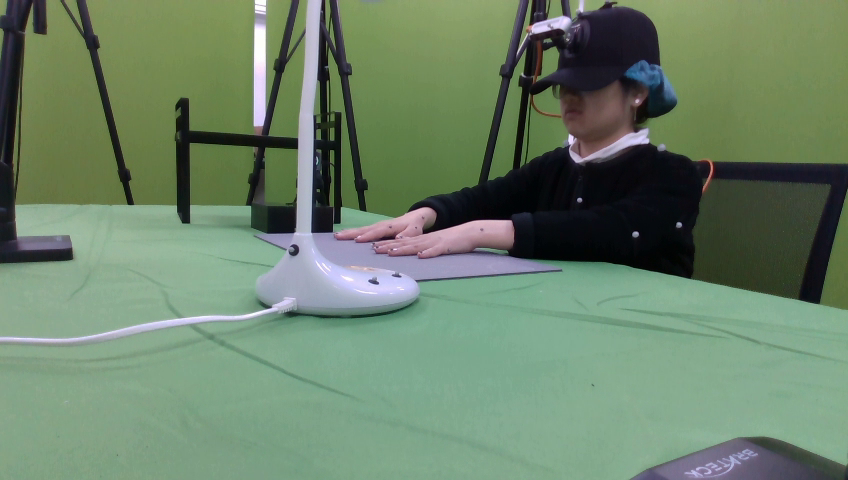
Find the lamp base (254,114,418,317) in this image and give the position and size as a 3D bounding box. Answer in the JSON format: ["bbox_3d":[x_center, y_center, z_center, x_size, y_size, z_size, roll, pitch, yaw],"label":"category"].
[{"bbox_3d":[-0.086,-0.027,0.577,0.160,0.180,0.179,4,10,16],"label":"lamp base"}]

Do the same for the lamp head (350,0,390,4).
[{"bbox_3d":[-0.053,-0.313,0.597,0.112,0.112,0.123,6,-28,25],"label":"lamp head"}]
